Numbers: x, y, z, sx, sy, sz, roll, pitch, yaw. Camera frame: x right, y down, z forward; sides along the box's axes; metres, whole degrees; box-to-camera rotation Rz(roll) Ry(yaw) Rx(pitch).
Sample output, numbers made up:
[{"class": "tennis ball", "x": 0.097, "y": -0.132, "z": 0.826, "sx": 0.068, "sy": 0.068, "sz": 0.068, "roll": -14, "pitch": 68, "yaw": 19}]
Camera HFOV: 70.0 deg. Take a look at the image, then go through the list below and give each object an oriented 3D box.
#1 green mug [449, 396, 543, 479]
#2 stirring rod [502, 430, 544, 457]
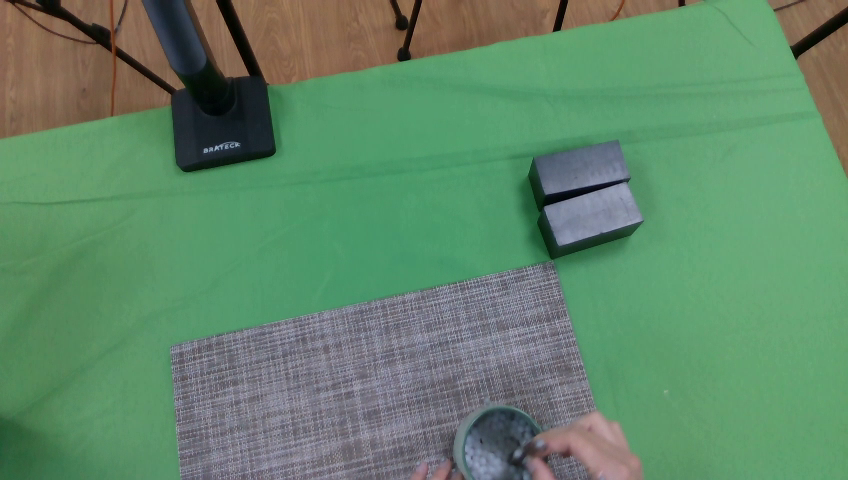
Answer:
[{"class": "green mug", "x": 0.079, "y": 0.213, "z": 0.594, "sx": 0.092, "sy": 0.105, "sz": 0.124, "roll": -29, "pitch": 74, "yaw": -8}, {"class": "stirring rod", "x": 0.086, "y": 0.184, "z": 0.543, "sx": 0.014, "sy": 0.177, "sz": 0.006, "roll": 13, "pitch": 67, "yaw": 6}]
